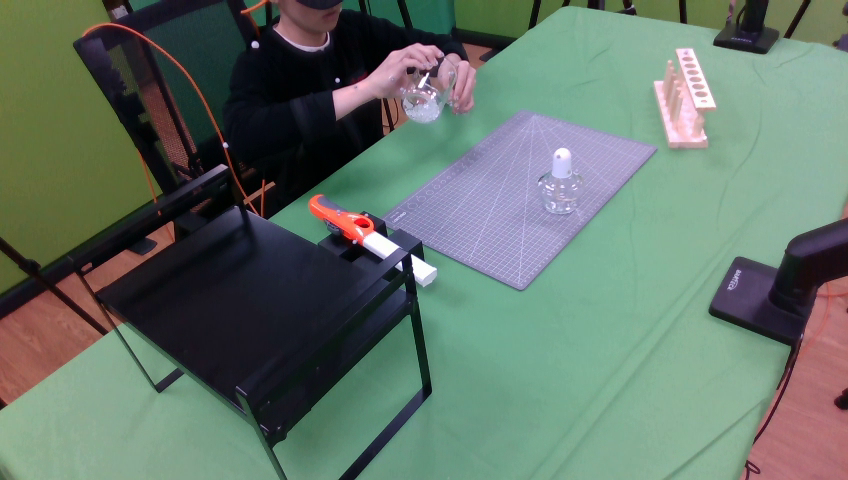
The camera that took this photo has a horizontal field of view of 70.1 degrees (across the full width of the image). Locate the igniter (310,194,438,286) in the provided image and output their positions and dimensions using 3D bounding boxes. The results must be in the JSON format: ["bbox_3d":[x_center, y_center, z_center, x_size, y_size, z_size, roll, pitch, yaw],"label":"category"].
[{"bbox_3d":[-0.087,-0.007,0.921,0.274,0.025,0.057,31,50,34],"label":"igniter"}]

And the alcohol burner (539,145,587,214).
[{"bbox_3d":[0.226,-0.102,0.986,0.078,0.119,0.077,-6,41,6],"label":"alcohol burner"}]

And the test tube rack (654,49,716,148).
[{"bbox_3d":[0.502,-0.281,1.176,0.066,0.085,0.241,2,41,11],"label":"test tube rack"}]

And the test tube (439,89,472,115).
[{"bbox_3d":[0.061,-0.256,1.133,0.017,0.017,0.151,13,3,22],"label":"test tube"}]

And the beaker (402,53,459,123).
[{"bbox_3d":[0.010,-0.249,1.010,0.073,0.084,0.100,5,52,24],"label":"beaker"}]

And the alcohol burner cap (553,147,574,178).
[{"bbox_3d":[0.224,-0.125,0.965,0.034,0.048,0.033,-5,44,5],"label":"alcohol burner cap"}]
